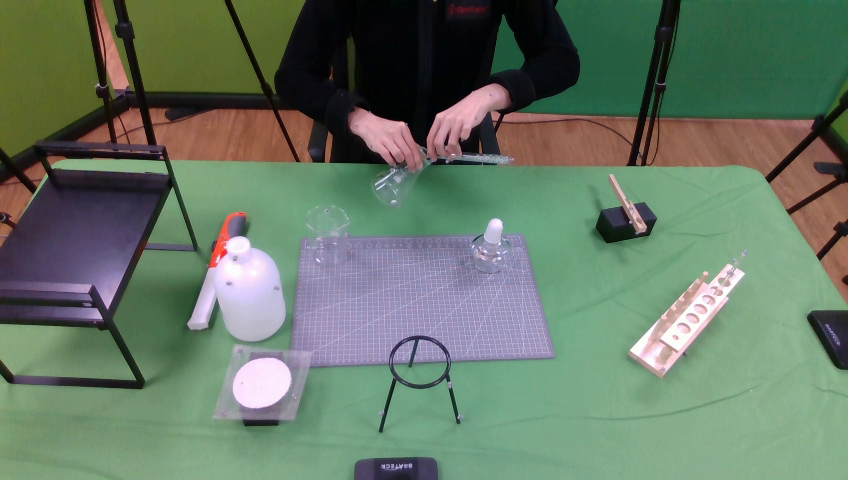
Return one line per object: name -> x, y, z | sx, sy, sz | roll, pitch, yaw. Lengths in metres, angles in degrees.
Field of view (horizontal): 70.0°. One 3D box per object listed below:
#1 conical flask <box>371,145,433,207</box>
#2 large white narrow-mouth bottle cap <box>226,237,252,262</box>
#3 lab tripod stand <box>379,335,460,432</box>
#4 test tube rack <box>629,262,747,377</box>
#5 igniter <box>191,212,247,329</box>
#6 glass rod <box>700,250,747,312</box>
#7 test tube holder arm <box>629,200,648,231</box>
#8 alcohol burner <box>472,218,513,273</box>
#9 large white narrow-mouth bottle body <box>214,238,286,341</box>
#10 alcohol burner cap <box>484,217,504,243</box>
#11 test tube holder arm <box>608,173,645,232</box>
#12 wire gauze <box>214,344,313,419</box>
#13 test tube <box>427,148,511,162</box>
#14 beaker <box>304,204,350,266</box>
conical flask -> -0.035, -0.123, 1.121 | 0.075, 0.122, 0.075 | 32, 36, -27
large white narrow-mouth bottle cap -> -0.282, 0.014, 0.923 | 0.038, 0.024, 0.037 | 2, 46, -2
lab tripod stand -> -0.010, 0.214, 0.911 | 0.148, 0.132, 0.147 | 1, 45, 0
test tube rack -> 0.464, 0.126, 1.060 | 0.242, 0.085, 0.066 | -34, 56, -31
igniter -> -0.376, 0.047, 1.121 | 0.057, 0.025, 0.275 | -4, 46, 6
glass rod -> 0.500, 0.075, 1.021 | 0.008, 0.201, 0.008 | 0, 54, 1
test tube holder arm -> 0.423, -0.050, 1.206 | 0.010, 0.015, 0.087 | 1, 42, -12
alcohol burner -> 0.128, 0.005, 1.132 | 0.078, 0.120, 0.077 | 0, 47, 0
large white narrow-mouth bottle body -> -0.285, 0.073, 0.986 | 0.102, 0.195, 0.101 | 2, 46, -2
alcohol burner cap -> 0.131, -0.021, 1.107 | 0.034, 0.048, 0.033 | 5, 46, -5
test tube holder arm -> 0.411, -0.080, 1.238 | 0.013, 0.015, 0.177 | 0, 42, -12
wire gauze -> -0.241, 0.213, 0.915 | 0.121, 0.011, 0.124 | 5, 46, 1
test tube -> 0.078, -0.149, 1.067 | 0.150, 0.017, 0.017 | 6, 45, 14
beaker -> -0.178, -0.006, 1.132 | 0.084, 0.101, 0.073 | 4, 46, -1
